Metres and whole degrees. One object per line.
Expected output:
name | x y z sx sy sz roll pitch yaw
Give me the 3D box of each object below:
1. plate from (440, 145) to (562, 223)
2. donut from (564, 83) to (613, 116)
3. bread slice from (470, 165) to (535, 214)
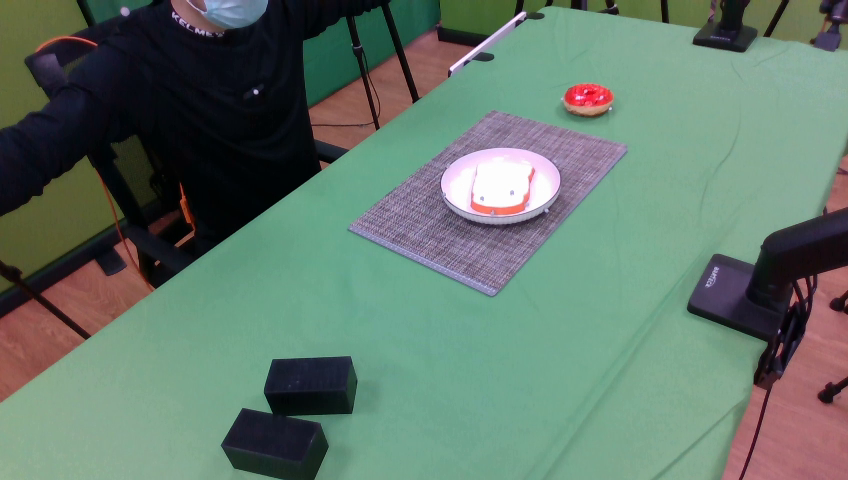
plate | 0.131 -0.093 1.040 0.207 0.039 0.206 -4 41 4
donut | 0.337 -0.288 1.239 0.099 0.048 0.098 -3 38 3
bread slice | 0.134 -0.090 1.038 0.104 0.019 0.131 3 40 13
